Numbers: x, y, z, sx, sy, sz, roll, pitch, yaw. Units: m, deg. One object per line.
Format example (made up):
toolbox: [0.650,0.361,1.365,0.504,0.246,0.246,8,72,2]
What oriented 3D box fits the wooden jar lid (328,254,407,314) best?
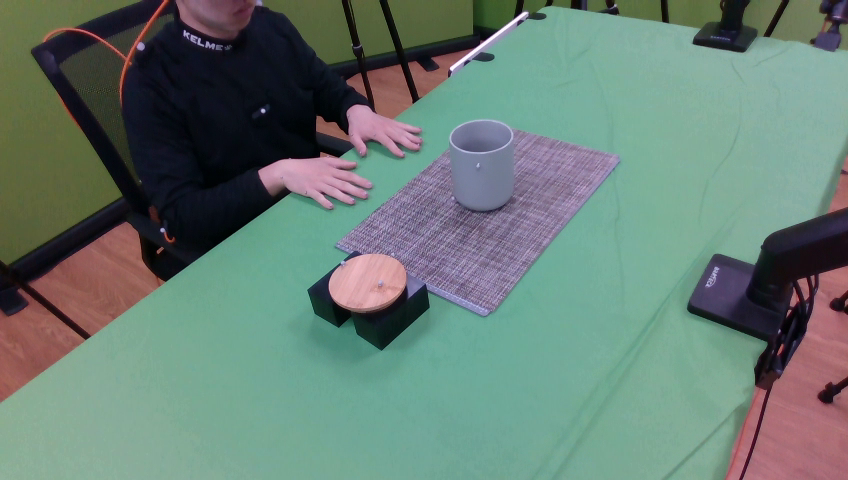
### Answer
wooden jar lid: [-0.077,0.062,0.832,0.108,0.021,0.108,-4,39,4]

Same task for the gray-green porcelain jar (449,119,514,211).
gray-green porcelain jar: [0.098,-0.120,1.009,0.106,0.127,0.105,-4,41,4]
